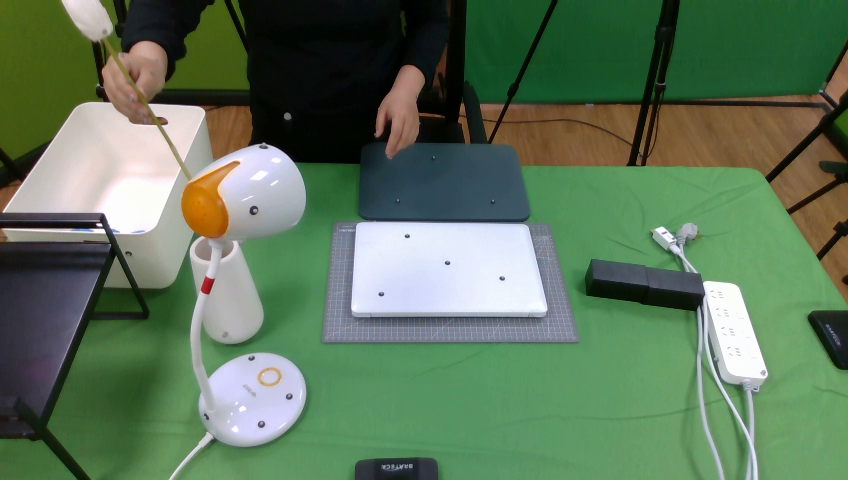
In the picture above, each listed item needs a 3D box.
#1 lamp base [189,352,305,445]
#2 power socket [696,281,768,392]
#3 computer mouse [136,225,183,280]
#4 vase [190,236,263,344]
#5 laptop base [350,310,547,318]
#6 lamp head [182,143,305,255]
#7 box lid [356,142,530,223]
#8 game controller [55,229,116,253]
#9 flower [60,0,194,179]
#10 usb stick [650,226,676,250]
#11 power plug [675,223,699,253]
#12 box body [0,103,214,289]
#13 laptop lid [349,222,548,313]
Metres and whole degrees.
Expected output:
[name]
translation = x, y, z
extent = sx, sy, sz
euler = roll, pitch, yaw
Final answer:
[lamp base]
translation = -0.268, 0.196, 0.876
extent = 0.160, 0.181, 0.179
euler = 25, 52, 19
[power socket]
translation = 0.543, 0.161, 1.077
extent = 0.072, 0.033, 0.225
euler = 5, 46, 2
[computer mouse]
translation = -0.488, 0.020, 1.117
extent = 0.063, 0.041, 0.116
euler = 1, 55, -6
[vase]
translation = -0.317, 0.081, 0.971
extent = 0.098, 0.201, 0.097
euler = 3, 47, -3
[laptop base]
translation = 0.042, 0.056, 1.149
extent = 0.355, 0.023, 0.234
euler = 0, 43, -4
[lamp head]
translation = -0.216, -0.044, 0.697
extent = 0.112, 0.113, 0.123
euler = 23, 31, 17
[box lid]
translation = 0.040, -0.132, 1.339
extent = 0.372, 0.015, 0.261
euler = 0, 46, -4
[game controller]
translation = -0.597, 0.011, 1.116
extent = 0.155, 0.052, 0.096
euler = 1, 48, -1
[flower]
translation = -0.352, -0.155, 0.799
extent = 0.038, 0.364, 0.044
euler = -16, 40, 4
[usb stick]
translation = 0.485, -0.008, 1.238
extent = 0.021, 0.027, 0.059
euler = -22, 44, -13
[power plug]
translation = 0.537, 0.000, 1.244
extent = 0.053, 0.035, 0.072
euler = 19, 83, -17
[box body]
translation = -0.563, -0.087, 1.139
extent = 0.254, 0.161, 0.361
euler = 2, 46, -3
[laptop lid]
translation = 0.042, 0.046, 1.142
extent = 0.357, 0.013, 0.240
euler = 2, 44, -3
